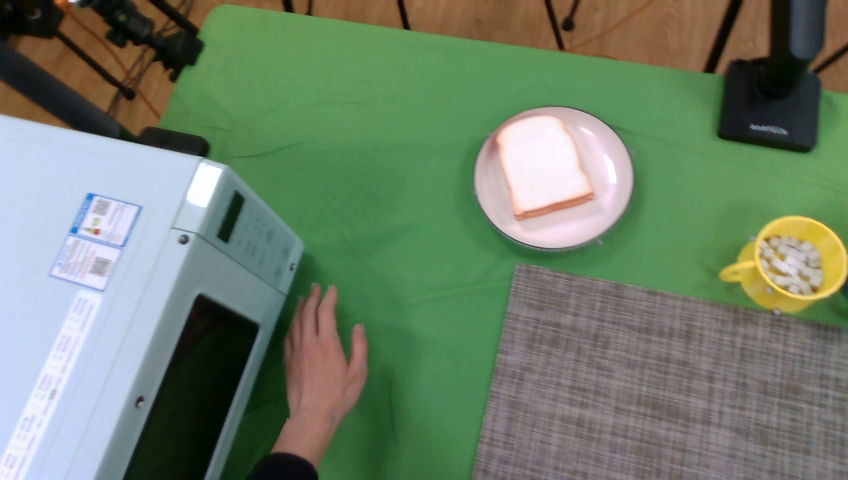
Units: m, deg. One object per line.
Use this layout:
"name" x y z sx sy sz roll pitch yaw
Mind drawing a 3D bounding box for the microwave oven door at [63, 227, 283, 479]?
"microwave oven door" -0.267 0.186 0.650 0.039 0.245 0.354 13 73 13

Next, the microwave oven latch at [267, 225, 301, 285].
"microwave oven latch" -0.190 0.018 0.804 0.030 0.030 0.079 17 75 13

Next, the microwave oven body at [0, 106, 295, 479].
"microwave oven body" -0.393 0.117 0.697 0.325 0.262 0.439 13 74 12

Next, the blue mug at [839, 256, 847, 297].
"blue mug" 0.526 0.044 0.676 0.082 0.106 0.116 32 79 18

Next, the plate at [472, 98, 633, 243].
"plate" 0.168 -0.090 0.810 0.207 0.039 0.206 -2 71 7

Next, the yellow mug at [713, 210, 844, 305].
"yellow mug" 0.414 0.024 0.720 0.131 0.064 0.099 -9 70 6

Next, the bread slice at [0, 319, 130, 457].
"bread slice" -0.400 0.156 0.678 0.107 0.018 0.133 24 69 5

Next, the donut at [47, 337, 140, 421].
"donut" -0.382 0.161 0.705 0.099 0.048 0.098 1 65 -2

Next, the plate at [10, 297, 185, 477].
"plate" -0.385 0.173 0.728 0.209 0.038 0.208 -1 73 4

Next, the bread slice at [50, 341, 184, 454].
"bread slice" -0.383 0.197 0.746 0.104 0.019 0.131 34 54 16
